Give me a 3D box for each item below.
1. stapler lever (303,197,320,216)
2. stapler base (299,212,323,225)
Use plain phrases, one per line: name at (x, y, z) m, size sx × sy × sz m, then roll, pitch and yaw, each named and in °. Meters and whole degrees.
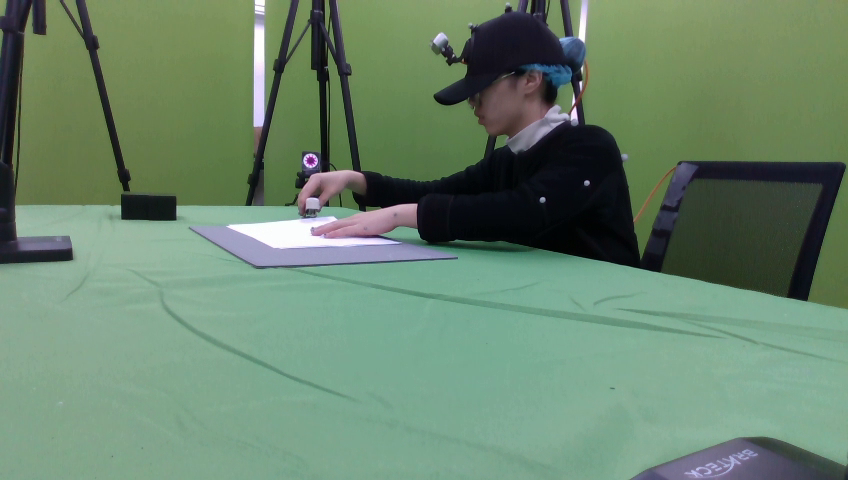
stapler lever at (-0.239, -0.072, 1.274) m, size 0.027 × 0.040 × 0.117 m, roll 3°, pitch 5°, yaw -16°
stapler base at (-0.239, -0.048, 1.275) m, size 0.041 × 0.024 × 0.130 m, roll 3°, pitch 3°, yaw -16°
